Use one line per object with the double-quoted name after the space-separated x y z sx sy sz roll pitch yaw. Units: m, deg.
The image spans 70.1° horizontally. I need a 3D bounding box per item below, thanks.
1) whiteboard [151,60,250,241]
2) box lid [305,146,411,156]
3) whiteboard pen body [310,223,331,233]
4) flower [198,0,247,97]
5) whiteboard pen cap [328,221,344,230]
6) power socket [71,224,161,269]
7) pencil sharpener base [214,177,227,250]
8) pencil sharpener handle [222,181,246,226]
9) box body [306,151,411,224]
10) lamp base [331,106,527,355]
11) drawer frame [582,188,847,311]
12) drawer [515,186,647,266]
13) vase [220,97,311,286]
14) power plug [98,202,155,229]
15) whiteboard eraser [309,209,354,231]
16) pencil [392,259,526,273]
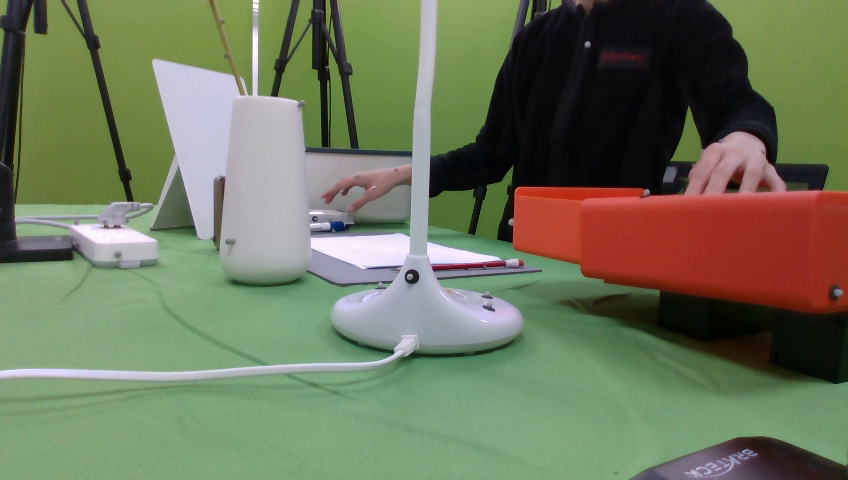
-0.408 -0.139 1.093 0.143 0.305 0.218 -15 0 26 "whiteboard"
-0.229 -0.200 1.361 0.373 0.015 0.262 -3 9 -32 "box lid"
-0.207 -0.021 1.081 0.017 0.017 0.141 9 10 41 "whiteboard pen body"
-0.187 -0.133 0.648 0.038 0.362 0.044 -1 22 43 "flower"
-0.166 -0.027 1.124 0.018 0.018 0.033 9 11 41 "whiteboard pen cap"
-0.408 0.004 0.793 0.072 0.032 0.225 -2 8 -38 "power socket"
-0.265 -0.036 0.870 0.061 0.107 0.076 -2 8 -29 "pencil sharpener base"
-0.289 -0.055 0.912 0.036 0.067 0.030 -3 9 -29 "pencil sharpener handle"
-0.230 -0.126 1.371 0.366 0.160 0.253 -2 8 -33 "box body"
0.006 -0.012 0.478 0.161 0.180 0.179 2 10 2 "lamp base"
0.280 0.000 0.511 0.203 0.082 0.212 -1 3 -28 "drawer frame"
0.230 -0.011 0.603 0.195 0.073 0.210 -1 8 -28 "drawer"
-0.172 -0.052 0.662 0.098 0.200 0.098 3 8 0 "vase"
-0.416 -0.027 0.848 0.073 0.052 0.035 0 8 -28 "power plug"
-0.196 -0.038 1.167 0.113 0.042 0.055 -2 7 -33 "whiteboard eraser"
0.049 0.035 0.782 0.195 0.012 0.012 -2 9 -25 "pencil"
